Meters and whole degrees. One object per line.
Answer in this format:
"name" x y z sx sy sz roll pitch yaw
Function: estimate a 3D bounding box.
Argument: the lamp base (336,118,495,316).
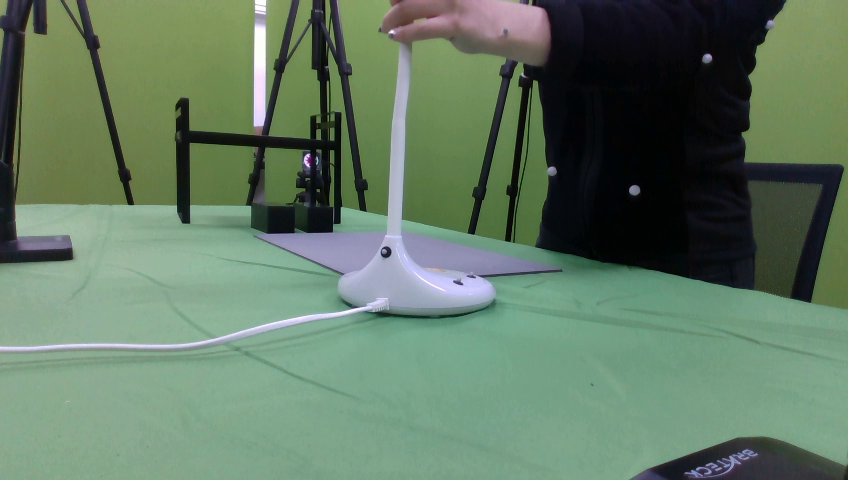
"lamp base" -0.009 -0.026 0.589 0.160 0.180 0.179 4 10 14
